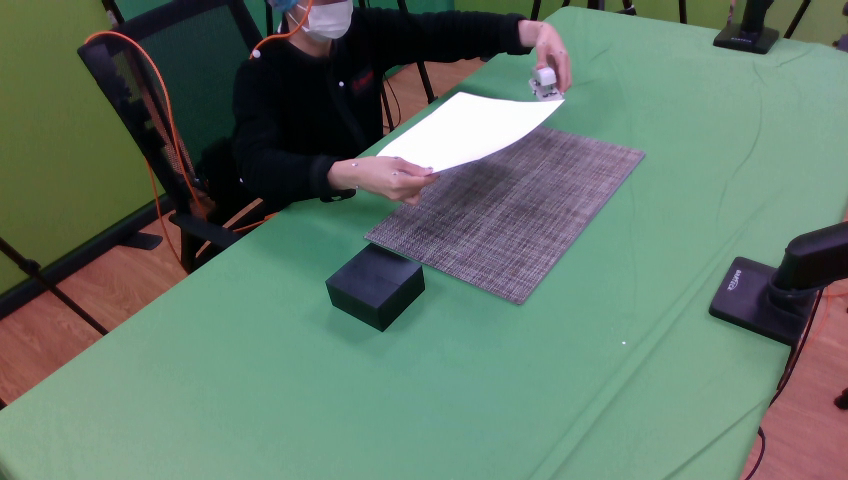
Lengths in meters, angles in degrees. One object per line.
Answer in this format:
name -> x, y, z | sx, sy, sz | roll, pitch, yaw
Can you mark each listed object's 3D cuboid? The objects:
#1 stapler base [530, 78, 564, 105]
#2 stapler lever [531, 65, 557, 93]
stapler base -> 0.233, -0.293, 1.156 | 0.041, 0.024, 0.130 | -14, 31, 4
stapler lever -> 0.226, -0.313, 1.144 | 0.027, 0.040, 0.117 | -14, 32, 4
